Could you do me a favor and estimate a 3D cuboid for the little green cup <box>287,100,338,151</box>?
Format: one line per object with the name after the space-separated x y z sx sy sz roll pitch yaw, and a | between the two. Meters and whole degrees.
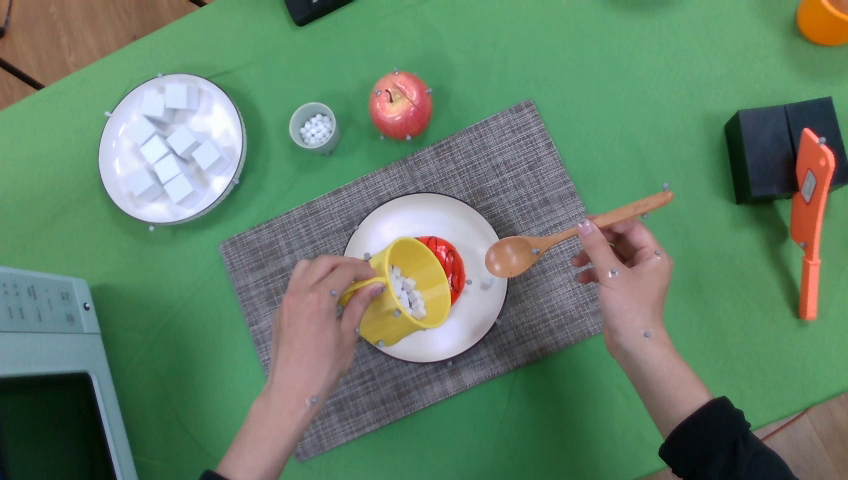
-0.143 -0.147 0.792 0.061 0.039 0.061 -1 81 9 | little green cup

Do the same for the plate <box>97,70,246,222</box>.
-0.334 -0.124 0.817 0.207 0.039 0.207 -1 82 8 | plate

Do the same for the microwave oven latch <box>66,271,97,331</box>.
-0.453 0.081 0.787 0.030 0.029 0.079 -20 80 5 | microwave oven latch

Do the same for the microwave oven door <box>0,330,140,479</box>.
-0.395 0.268 0.648 0.039 0.245 0.354 -22 79 5 | microwave oven door

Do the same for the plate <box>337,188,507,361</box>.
-0.002 0.041 0.740 0.209 0.038 0.208 -1 82 9 | plate

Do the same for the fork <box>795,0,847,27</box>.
0.515 -0.295 0.656 0.207 0.019 0.028 -27 72 49 | fork

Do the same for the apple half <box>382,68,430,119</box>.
-0.015 -0.189 0.760 0.033 0.081 0.081 -45 78 4 | apple half

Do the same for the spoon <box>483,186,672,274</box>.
0.141 -0.010 0.579 0.193 0.022 0.041 -23 79 34 | spoon

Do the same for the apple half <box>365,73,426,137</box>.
-0.042 -0.161 0.761 0.053 0.075 0.080 -45 81 5 | apple half

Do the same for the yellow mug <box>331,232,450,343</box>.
-0.038 0.049 0.613 0.064 0.132 0.099 -28 71 33 | yellow mug

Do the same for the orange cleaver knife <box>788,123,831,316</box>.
0.416 -0.019 0.664 0.012 0.077 0.213 -5 113 10 | orange cleaver knife

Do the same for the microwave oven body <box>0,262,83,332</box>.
-0.545 0.283 0.674 0.326 0.261 0.439 -21 80 4 | microwave oven body

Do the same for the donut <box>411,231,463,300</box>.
-0.002 0.038 0.728 0.099 0.048 0.099 -1 83 9 | donut
